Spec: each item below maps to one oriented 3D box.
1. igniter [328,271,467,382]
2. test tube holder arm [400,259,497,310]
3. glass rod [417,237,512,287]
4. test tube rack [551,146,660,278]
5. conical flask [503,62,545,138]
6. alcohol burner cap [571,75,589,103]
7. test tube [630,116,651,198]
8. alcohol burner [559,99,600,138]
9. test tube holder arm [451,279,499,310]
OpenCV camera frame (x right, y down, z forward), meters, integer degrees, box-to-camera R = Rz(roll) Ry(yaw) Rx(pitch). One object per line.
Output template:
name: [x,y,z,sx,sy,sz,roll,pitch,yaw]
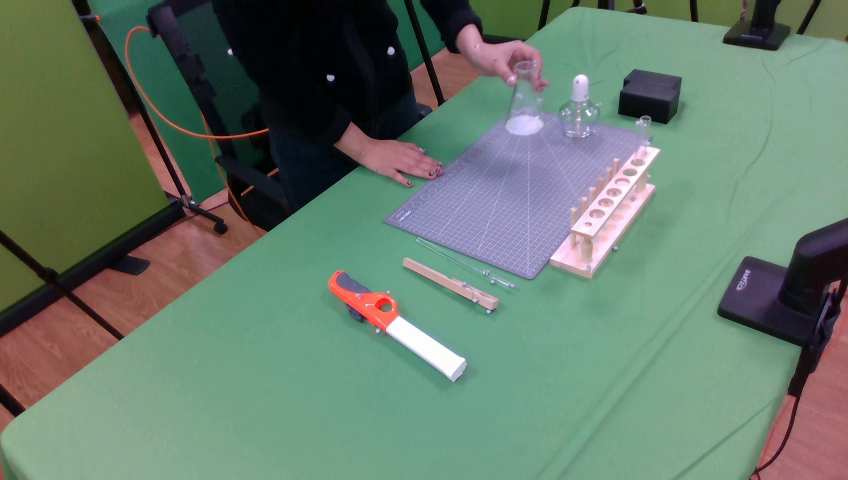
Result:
igniter: [-0.049,0.114,0.854,0.274,0.025,0.057,29,63,37]
test tube holder arm: [0.033,0.064,0.902,0.177,0.015,0.013,23,13,32]
glass rod: [0.059,0.032,0.945,0.198,0.008,0.008,26,52,38]
test tube rack: [0.286,-0.053,0.943,0.066,0.085,0.243,21,49,32]
conical flask: [0.176,-0.247,1.059,0.075,0.122,0.075,-4,42,4]
alcohol burner cap: [0.294,-0.285,1.132,0.034,0.048,0.033,-4,46,5]
test tube: [0.336,-0.125,0.941,0.017,0.151,0.017,-5,43,5]
alcohol burner: [0.298,-0.257,1.156,0.078,0.119,0.077,-4,39,4]
test tube holder arm: [0.071,0.079,0.882,0.087,0.015,0.010,24,13,34]
